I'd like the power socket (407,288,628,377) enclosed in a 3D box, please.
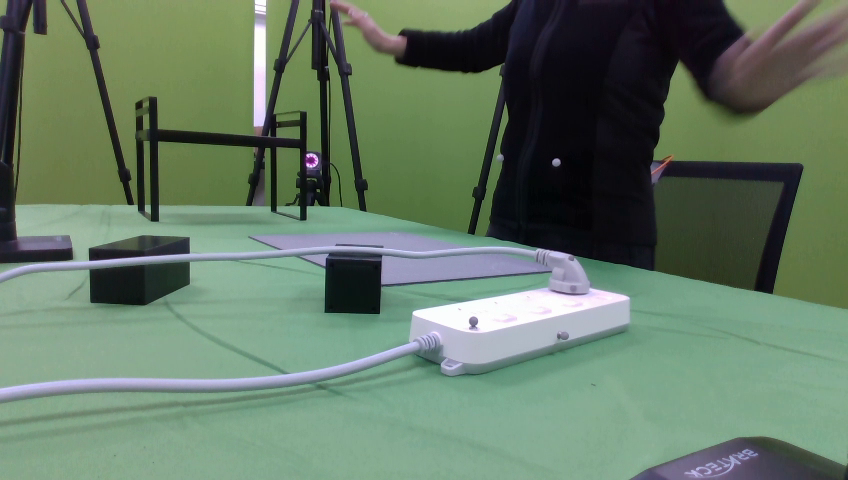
[{"bbox_3d":[0.084,0.065,0.485,0.228,0.032,0.072,-5,10,-42],"label":"power socket"}]

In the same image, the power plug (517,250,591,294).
[{"bbox_3d":[0.120,0.037,0.554,0.035,0.052,0.072,-2,9,-33],"label":"power plug"}]
